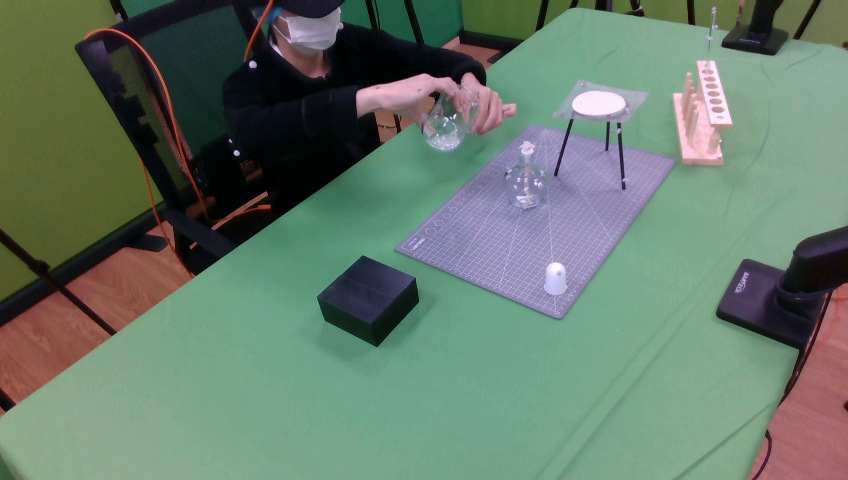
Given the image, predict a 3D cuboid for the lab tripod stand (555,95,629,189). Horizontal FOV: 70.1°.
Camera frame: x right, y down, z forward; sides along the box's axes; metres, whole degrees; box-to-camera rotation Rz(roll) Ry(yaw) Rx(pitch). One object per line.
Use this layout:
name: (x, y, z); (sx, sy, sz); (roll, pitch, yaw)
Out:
lab tripod stand: (0.300, -0.174, 1.045); (0.148, 0.132, 0.147); (-5, 38, 5)

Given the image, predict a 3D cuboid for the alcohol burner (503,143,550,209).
alcohol burner: (0.171, -0.112, 1.006); (0.078, 0.119, 0.077); (-3, 41, 3)

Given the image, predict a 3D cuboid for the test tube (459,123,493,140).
test tube: (0.097, -0.197, 1.104); (0.017, 0.017, 0.151); (13, 8, 23)

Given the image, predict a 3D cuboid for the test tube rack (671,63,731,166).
test tube rack: (0.513, -0.240, 1.132); (0.066, 0.085, 0.242); (4, 41, 14)

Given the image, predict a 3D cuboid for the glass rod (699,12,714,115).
glass rod: (0.525, -0.323, 1.124); (0.008, 0.201, 0.008); (-8, 38, 7)

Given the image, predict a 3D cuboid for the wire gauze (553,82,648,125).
wire gauze: (0.293, -0.225, 1.002); (0.120, 0.011, 0.125); (17, 45, 27)

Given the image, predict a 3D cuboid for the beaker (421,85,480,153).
beaker: (0.043, -0.193, 0.982); (0.073, 0.084, 0.100); (5, 42, 24)

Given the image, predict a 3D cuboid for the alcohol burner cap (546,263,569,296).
alcohol burner cap: (0.191, 0.053, 0.862); (0.034, 0.048, 0.033); (-5, 40, 4)
